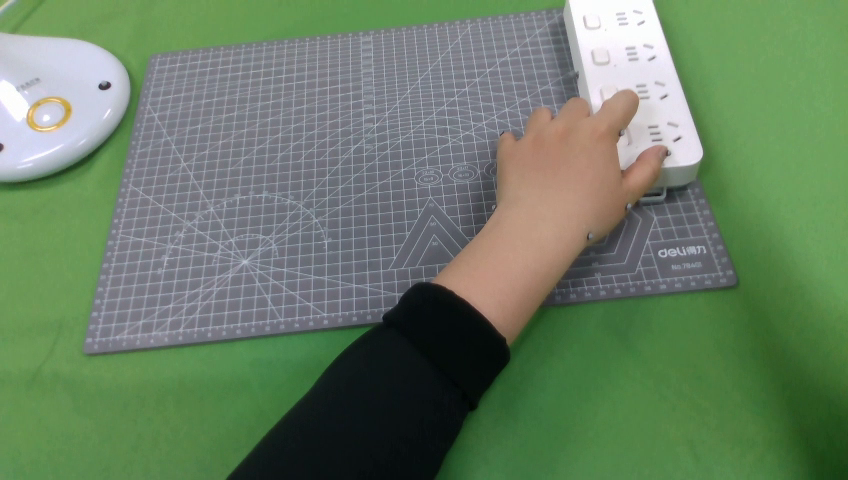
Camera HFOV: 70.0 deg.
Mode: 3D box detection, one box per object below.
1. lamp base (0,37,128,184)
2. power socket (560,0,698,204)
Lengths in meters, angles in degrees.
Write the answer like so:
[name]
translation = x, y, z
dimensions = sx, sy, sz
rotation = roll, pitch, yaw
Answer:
[lamp base]
translation = -0.358, -0.160, 0.472
dimensions = 0.178, 0.182, 0.160
rotation = 28, 65, 23
[power socket]
translation = 0.159, -0.130, 0.489
dimensions = 0.072, 0.033, 0.224
rotation = -3, 58, 2
